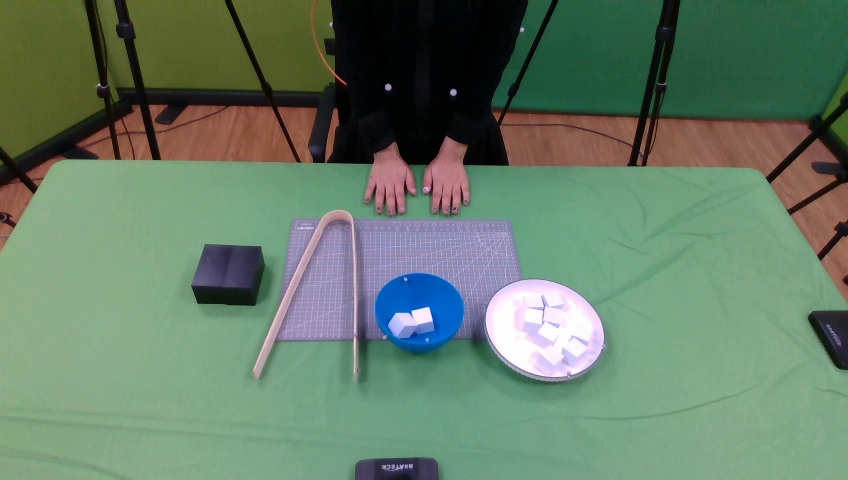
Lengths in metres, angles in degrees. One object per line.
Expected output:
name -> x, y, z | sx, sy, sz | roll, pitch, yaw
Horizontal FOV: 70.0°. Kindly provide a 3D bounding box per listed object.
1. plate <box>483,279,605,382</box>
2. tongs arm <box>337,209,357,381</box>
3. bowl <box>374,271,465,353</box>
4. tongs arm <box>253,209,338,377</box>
plate -> 0.204, 0.158, 1.047 | 0.208, 0.039, 0.206 | 3, 47, -3
tongs arm -> -0.143, 0.083, 1.094 | 0.051, 0.026, 0.382 | -2, 46, -1
bowl -> -0.009, 0.136, 1.024 | 0.151, 0.077, 0.150 | 2, 47, -2
tongs arm -> -0.227, 0.079, 1.095 | 0.028, 0.028, 0.385 | 5, 46, 11
